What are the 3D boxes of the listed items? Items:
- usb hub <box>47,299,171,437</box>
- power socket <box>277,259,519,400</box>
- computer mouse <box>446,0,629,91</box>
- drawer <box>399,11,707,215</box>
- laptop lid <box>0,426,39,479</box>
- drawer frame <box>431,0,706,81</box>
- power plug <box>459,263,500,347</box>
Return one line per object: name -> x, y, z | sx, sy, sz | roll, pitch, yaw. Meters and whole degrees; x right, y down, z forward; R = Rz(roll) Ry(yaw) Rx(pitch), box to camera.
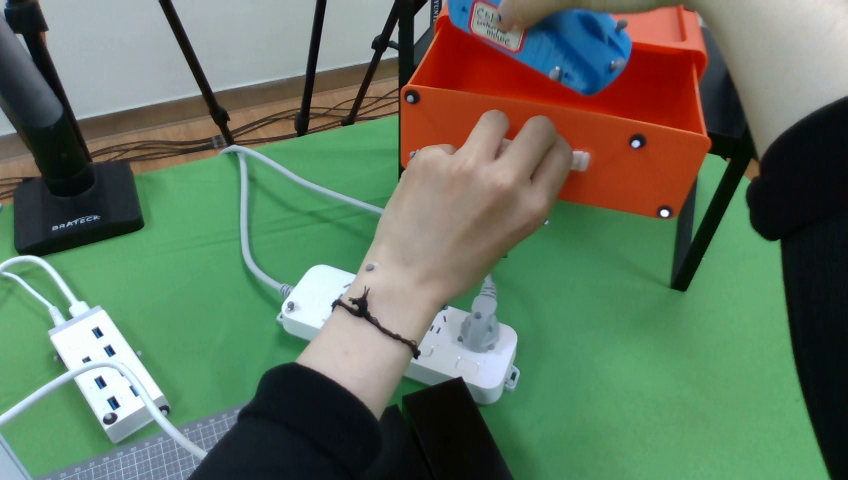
usb hub -> -0.267, 0.104, 0.509 | 0.049, 0.025, 0.124 | -33, 55, -29
power socket -> -0.024, 0.077, 0.544 | 0.226, 0.033, 0.072 | 17, 46, 14
computer mouse -> 0.073, -0.141, 0.374 | 0.117, 0.041, 0.062 | 35, 54, 6
drawer -> 0.101, -0.126, 0.467 | 0.194, 0.074, 0.210 | 11, 46, 9
laptop lid -> -0.414, 0.151, 0.295 | 0.357, 0.244, 0.013 | -21, 37, -19
drawer frame -> 0.124, -0.197, 0.535 | 0.201, 0.083, 0.212 | 10, 45, 7
power plug -> 0.058, 0.064, 0.530 | 0.035, 0.053, 0.072 | 26, 51, 23
